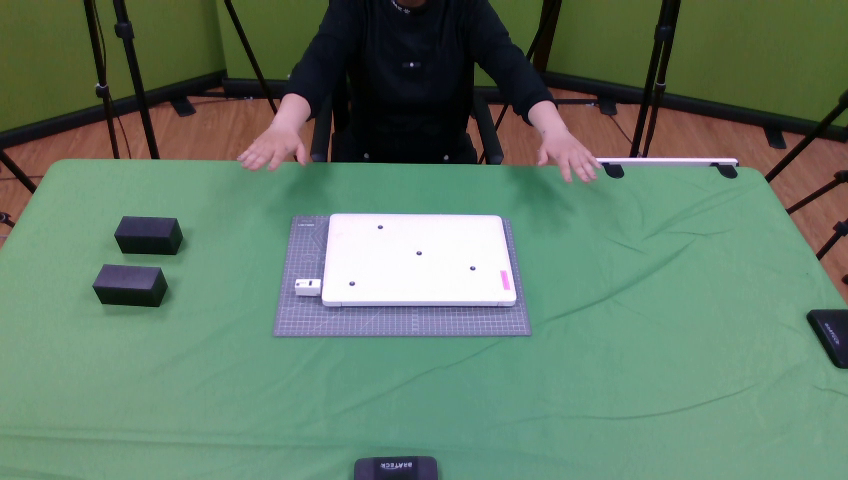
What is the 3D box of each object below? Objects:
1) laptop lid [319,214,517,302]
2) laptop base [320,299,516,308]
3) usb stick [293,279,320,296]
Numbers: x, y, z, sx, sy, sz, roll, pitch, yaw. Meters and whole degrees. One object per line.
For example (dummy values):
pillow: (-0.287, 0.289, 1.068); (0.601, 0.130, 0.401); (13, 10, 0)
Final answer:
laptop lid: (-0.013, 0.029, 1.154); (0.357, 0.013, 0.240); (2, 43, -3)
laptop base: (-0.013, 0.039, 1.160); (0.355, 0.023, 0.234); (0, 43, -4)
usb stick: (-0.202, 0.086, 1.083); (0.059, 0.027, 0.021); (3, 46, -5)
